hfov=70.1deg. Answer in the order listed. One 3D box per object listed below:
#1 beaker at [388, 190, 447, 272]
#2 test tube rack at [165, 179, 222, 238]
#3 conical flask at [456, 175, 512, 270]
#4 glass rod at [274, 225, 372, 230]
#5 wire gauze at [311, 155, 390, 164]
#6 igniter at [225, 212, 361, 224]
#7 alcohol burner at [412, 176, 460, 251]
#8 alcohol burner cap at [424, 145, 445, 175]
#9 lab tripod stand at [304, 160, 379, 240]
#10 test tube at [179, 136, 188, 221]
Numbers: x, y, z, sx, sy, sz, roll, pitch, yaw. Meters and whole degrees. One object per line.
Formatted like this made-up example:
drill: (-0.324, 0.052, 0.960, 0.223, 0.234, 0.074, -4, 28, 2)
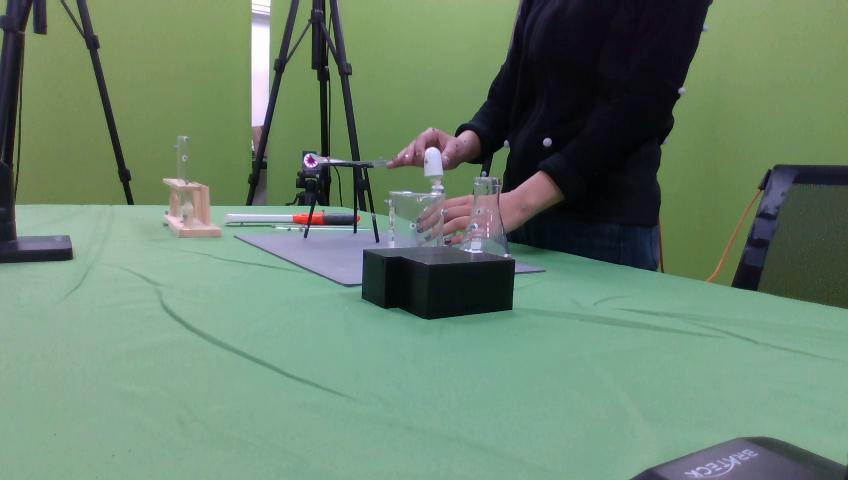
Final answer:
beaker: (-0.010, -0.013, 0.771, 0.074, 0.100, 0.084, 3, 7, 4)
test tube rack: (-0.423, -0.062, 1.098, 0.067, 0.085, 0.241, -2, 9, -28)
conical flask: (0.082, -0.025, 0.801, 0.075, 0.122, 0.075, 2, 7, 0)
glass rod: (-0.193, -0.024, 1.176, 0.201, 0.008, 0.008, 1, 7, -31)
wire gauze: (-0.128, -0.138, 1.042, 0.122, 0.011, 0.124, 1, 8, -18)
igniter: (-0.262, -0.045, 1.240, 0.278, 0.025, 0.057, -2, -1, -31)
alcohol burner: (0.020, -0.043, 0.959, 0.078, 0.119, 0.078, 4, 9, 0)
alcohol burner cap: (0.014, -0.126, 0.952, 0.034, 0.048, 0.034, -5, 3, 1)
lab tripod stand: (-0.131, -0.071, 1.047, 0.148, 0.131, 0.148, 4, 7, 0)
test tube: (-0.425, -0.108, 1.070, 0.017, 0.150, 0.017, 4, 9, 0)
